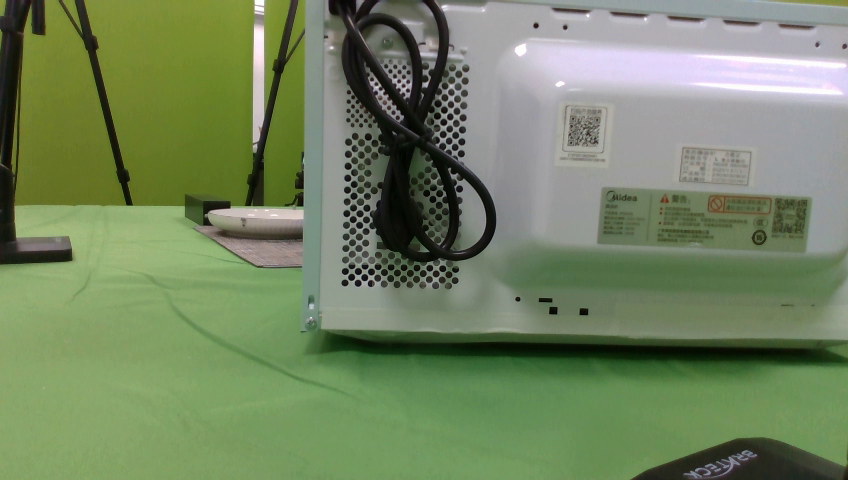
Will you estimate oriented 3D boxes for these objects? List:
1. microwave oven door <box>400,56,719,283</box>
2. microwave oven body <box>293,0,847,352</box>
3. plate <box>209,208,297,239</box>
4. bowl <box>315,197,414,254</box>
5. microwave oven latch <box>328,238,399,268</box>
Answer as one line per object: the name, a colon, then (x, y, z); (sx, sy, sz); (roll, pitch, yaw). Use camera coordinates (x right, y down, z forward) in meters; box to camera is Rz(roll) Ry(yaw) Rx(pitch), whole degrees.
microwave oven door: (0.155, -0.077, 0.698); (0.356, 0.243, 0.039); (2, 8, -5)
microwave oven body: (0.122, -0.055, 0.550); (0.442, 0.260, 0.325); (3, 7, -5)
plate: (-0.271, -0.029, 1.074); (0.208, 0.039, 0.207); (3, 7, 0)
bowl: (-0.092, -0.023, 0.932); (0.151, 0.077, 0.151); (3, 8, 0)
microwave oven latch: (-0.069, 0.015, 0.694); (0.079, 0.029, 0.030); (3, 7, -3)
